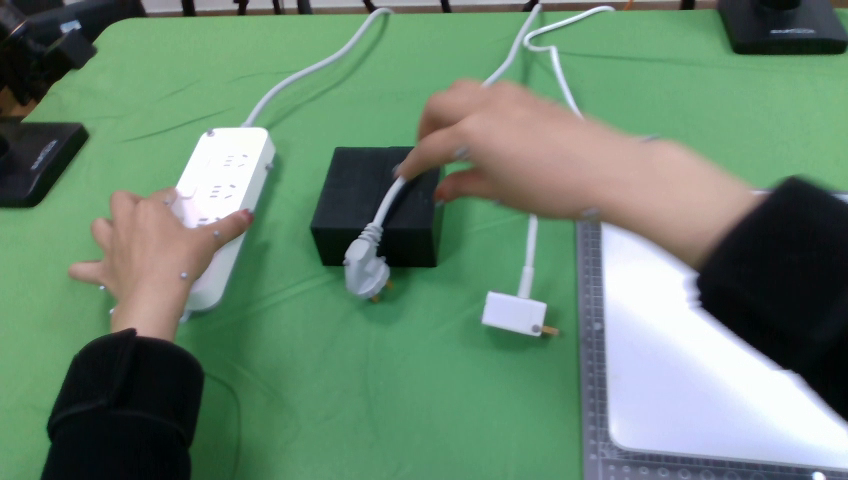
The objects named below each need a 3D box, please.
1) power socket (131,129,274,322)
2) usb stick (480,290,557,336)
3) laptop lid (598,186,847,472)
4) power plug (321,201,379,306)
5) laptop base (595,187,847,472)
[{"bbox_3d":[-0.198,-0.027,0.563,0.072,0.033,0.224,1,49,6],"label":"power socket"},{"bbox_3d":[0.073,0.057,0.459,0.059,0.021,0.027,16,89,4],"label":"usb stick"},{"bbox_3d":[0.307,0.052,0.432,0.356,0.013,0.239,4,52,10],"label":"laptop lid"},{"bbox_3d":[-0.064,0.013,0.468,0.035,0.073,0.052,-4,28,48],"label":"power plug"},{"bbox_3d":[0.309,0.058,0.442,0.354,0.023,0.233,3,53,9],"label":"laptop base"}]
